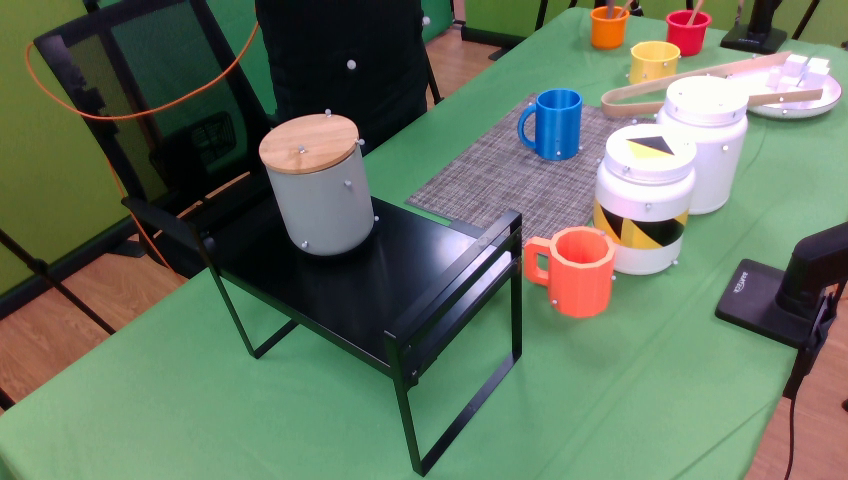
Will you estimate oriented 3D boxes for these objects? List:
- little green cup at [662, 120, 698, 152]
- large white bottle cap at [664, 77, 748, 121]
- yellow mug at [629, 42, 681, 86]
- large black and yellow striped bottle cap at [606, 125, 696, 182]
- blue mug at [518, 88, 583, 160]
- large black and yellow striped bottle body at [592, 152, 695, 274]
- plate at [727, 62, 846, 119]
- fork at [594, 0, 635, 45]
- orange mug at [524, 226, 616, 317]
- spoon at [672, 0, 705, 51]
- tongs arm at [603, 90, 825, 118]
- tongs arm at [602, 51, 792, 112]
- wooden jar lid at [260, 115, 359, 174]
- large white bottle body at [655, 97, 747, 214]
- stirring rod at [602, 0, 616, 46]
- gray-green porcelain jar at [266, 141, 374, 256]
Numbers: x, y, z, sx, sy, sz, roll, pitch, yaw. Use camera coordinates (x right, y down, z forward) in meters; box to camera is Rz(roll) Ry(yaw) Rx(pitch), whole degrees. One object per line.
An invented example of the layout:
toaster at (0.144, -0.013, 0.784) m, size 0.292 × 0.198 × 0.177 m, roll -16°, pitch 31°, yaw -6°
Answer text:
little green cup at (0.469, -0.191, 1.116) m, size 0.061 × 0.039 × 0.061 m, roll -4°, pitch 40°, yaw 4°
large white bottle cap at (0.421, -0.212, 0.905) m, size 0.115 × 0.018 × 0.114 m, roll -4°, pitch 40°, yaw 4°
yellow mug at (0.494, -0.389, 1.321) m, size 0.100 × 0.064 × 0.130 m, roll -14°, pitch 40°, yaw -6°
large black and yellow striped bottle cap at (0.305, -0.119, 0.816) m, size 0.115 × 0.019 × 0.114 m, roll -5°, pitch 41°, yaw 5°
blue mug at (0.233, -0.213, 1.121) m, size 0.116 × 0.106 × 0.082 m, roll -6°, pitch 41°, yaw 3°
large black and yellow striped bottle body at (0.313, -0.056, 0.872) m, size 0.131 × 0.185 × 0.130 m, roll -4°, pitch 41°, yaw 4°
plate at (0.709, -0.292, 1.197) m, size 0.207 × 0.039 × 0.206 m, roll -4°, pitch 40°, yaw 4°
fork at (0.484, -0.552, 1.447) m, size 0.207 × 0.019 × 0.028 m, roll -51°, pitch 46°, yaw 17°
orange mug at (0.201, 0.039, 0.845) m, size 0.125 × 0.101 × 0.083 m, roll 18°, pitch 46°, yaw 21°
spoon at (0.628, -0.521, 1.395) m, size 0.041 × 0.022 × 0.193 m, roll 30°, pitch 97°, yaw 39°
tongs arm at (0.546, -0.262, 1.163) m, size 0.386 × 0.028 × 0.028 m, roll -1°, pitch 49°, yaw 18°
tongs arm at (0.552, -0.320, 1.224) m, size 0.384 × 0.027 × 0.050 m, roll -10°, pitch 43°, yaw 7°
wooden jar lid at (-0.124, -0.101, 0.662) m, size 0.108 × 0.021 × 0.108 m, roll -4°, pitch 41°, yaw 4°
large white bottle body at (0.431, -0.148, 0.959) m, size 0.130 × 0.185 × 0.130 m, roll -4°, pitch 41°, yaw 4°
stirring rod at (0.453, -0.554, 1.464) m, size 0.014 × 0.006 × 0.176 m, roll 10°, pitch 86°, yaw 17°
gray-green porcelain jar at (-0.117, -0.054, 0.703) m, size 0.106 × 0.127 × 0.105 m, roll -4°, pitch 40°, yaw 4°
